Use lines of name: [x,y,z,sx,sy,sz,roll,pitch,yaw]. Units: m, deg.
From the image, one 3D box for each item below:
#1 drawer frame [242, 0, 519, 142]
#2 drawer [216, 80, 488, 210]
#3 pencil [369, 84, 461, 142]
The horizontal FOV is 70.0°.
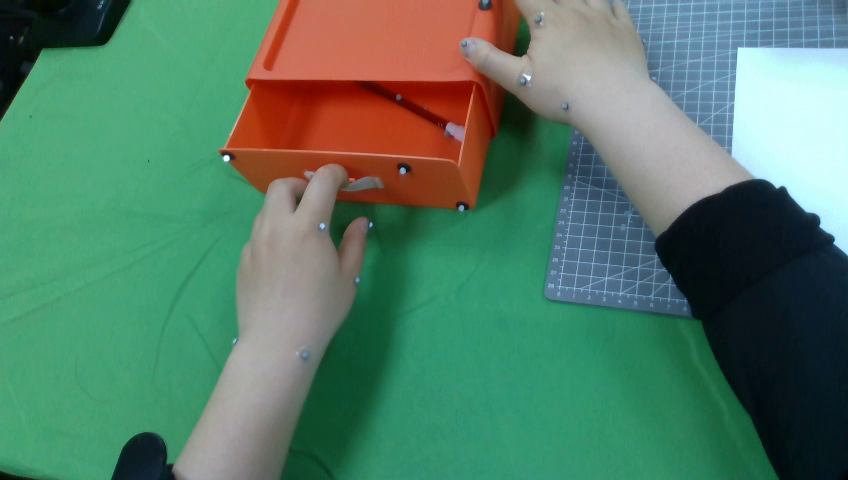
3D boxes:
drawer frame: [-0.026,-0.194,0.526,0.201,0.083,0.212,4,65,19]
drawer: [-0.040,-0.134,0.501,0.193,0.074,0.210,5,66,20]
pencil: [-0.027,-0.126,0.529,0.012,0.012,0.192,-47,55,-9]
